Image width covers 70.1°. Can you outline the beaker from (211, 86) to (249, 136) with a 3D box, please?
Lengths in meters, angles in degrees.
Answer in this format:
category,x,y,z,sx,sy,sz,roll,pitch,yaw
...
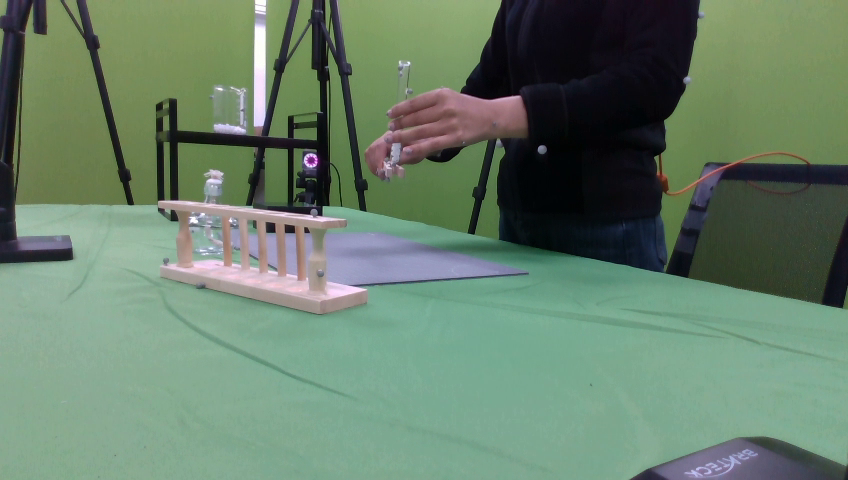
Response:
category,x,y,z,sx,sy,sz,roll,pitch,yaw
beaker,-0.413,-0.274,1.297,0.074,0.100,0.083,-5,11,-44

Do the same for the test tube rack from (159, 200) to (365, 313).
category,x,y,z,sx,sy,sz,roll,pitch,yaw
test tube rack,-0.173,0.008,0.624,0.241,0.085,0.067,7,9,34

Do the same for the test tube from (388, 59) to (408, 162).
category,x,y,z,sx,sy,sz,roll,pitch,yaw
test tube,-0.037,-0.178,0.849,0.017,0.150,0.017,6,34,-3

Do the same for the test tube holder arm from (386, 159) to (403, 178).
category,x,y,z,sx,sy,sz,roll,pitch,yaw
test tube holder arm,-0.050,-0.110,0.924,0.010,0.015,0.087,9,14,-22

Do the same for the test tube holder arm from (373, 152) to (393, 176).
category,x,y,z,sx,sy,sz,roll,pitch,yaw
test tube holder arm,-0.067,-0.123,0.963,0.013,0.015,0.178,11,13,-16

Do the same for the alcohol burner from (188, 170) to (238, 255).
category,x,y,z,sx,sy,sz,roll,pitch,yaw
alcohol burner,-0.298,-0.039,0.852,0.078,0.119,0.078,3,6,0

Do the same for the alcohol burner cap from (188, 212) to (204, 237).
category,x,y,z,sx,sy,sz,roll,pitch,yaw
alcohol burner cap,-0.389,-0.029,1.026,0.034,0.048,0.034,3,8,0
